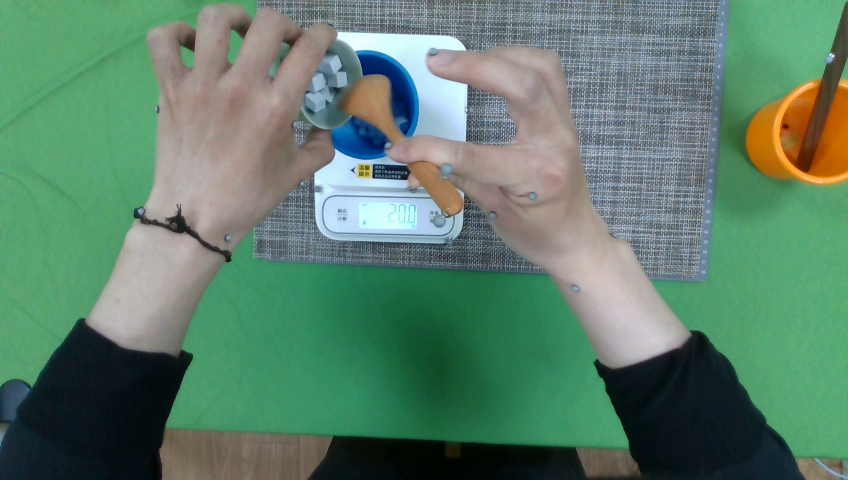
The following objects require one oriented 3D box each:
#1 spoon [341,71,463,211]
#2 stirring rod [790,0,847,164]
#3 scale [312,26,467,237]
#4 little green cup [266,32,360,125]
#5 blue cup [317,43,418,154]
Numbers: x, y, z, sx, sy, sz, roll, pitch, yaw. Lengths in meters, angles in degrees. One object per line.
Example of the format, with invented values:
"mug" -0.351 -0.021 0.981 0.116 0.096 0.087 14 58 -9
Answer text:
"spoon" -0.014 -0.065 0.359 0.041 0.191 0.022 -29 131 -3
"stirring rod" 0.343 -0.133 0.520 0.014 0.005 0.178 -11 137 5
"scale" -0.035 -0.104 0.590 0.148 0.031 0.201 1 96 3
"little green cup" -0.079 -0.116 0.425 0.038 0.062 0.061 24 97 28
"blue cup" -0.044 -0.117 0.524 0.092 0.100 0.093 0 98 3
